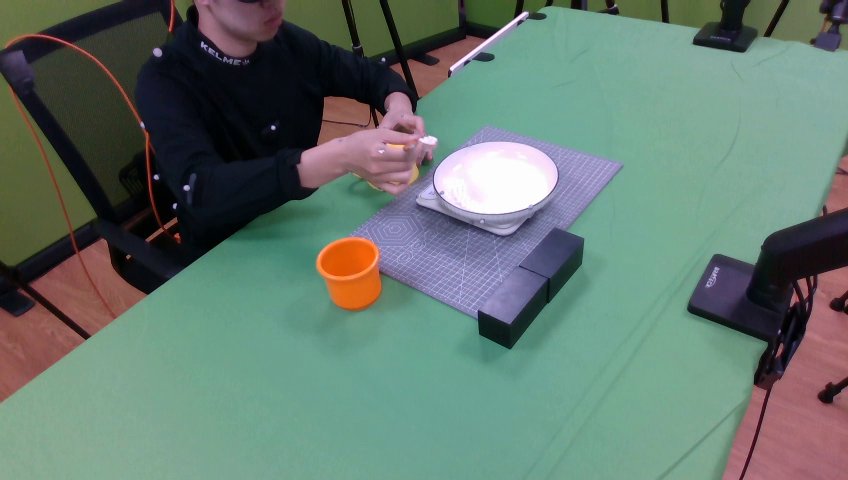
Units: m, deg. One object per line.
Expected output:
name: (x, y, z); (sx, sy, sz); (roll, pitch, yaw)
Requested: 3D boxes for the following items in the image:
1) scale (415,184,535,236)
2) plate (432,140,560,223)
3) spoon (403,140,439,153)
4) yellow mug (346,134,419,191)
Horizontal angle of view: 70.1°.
scale: (0.099, -0.079, 1.035); (0.199, 0.032, 0.149); (23, 48, 31)
plate: (0.118, -0.094, 0.999); (0.209, 0.038, 0.208); (-5, 41, 4)
spoon: (-0.010, -0.145, 0.932); (0.041, 0.021, 0.194); (-4, 7, 11)
yellow mug: (-0.079, -0.142, 1.115); (0.131, 0.064, 0.099); (-7, 39, 3)
